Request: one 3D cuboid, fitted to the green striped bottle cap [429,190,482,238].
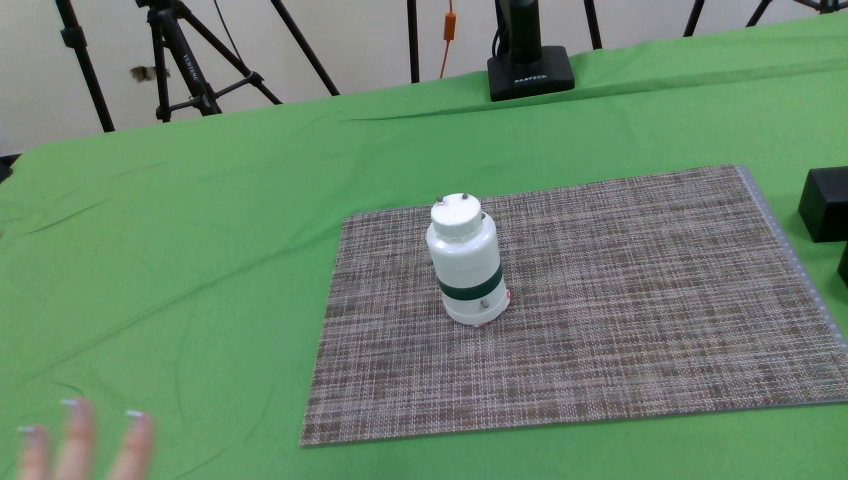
[{"bbox_3d":[0.027,-0.023,0.519,0.044,0.020,0.044,-9,42,9],"label":"green striped bottle cap"}]

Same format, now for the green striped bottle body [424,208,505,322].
[{"bbox_3d":[0.037,0.015,0.554,0.063,0.120,0.062,-8,42,8],"label":"green striped bottle body"}]
